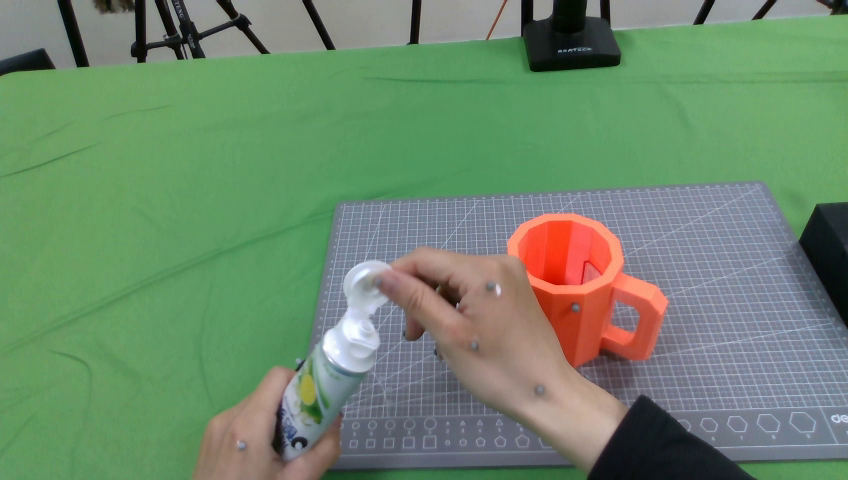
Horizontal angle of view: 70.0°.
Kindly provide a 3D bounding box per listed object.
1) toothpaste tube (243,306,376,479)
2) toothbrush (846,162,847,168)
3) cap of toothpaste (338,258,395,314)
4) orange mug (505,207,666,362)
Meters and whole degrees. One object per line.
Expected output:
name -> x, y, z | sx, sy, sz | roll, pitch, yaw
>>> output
toothpaste tube -> -0.079, 0.105, 0.396 | 0.035, 0.165, 0.054 | 10, 35, -42
toothbrush -> 0.385, -0.011, 0.494 | 0.014, 0.017, 0.180 | 4, 47, 5
cap of toothpaste -> -0.035, 0.028, 0.373 | 0.037, 0.037, 0.011 | -14, 27, -7
orange mug -> 0.123, 0.042, 0.480 | 0.125, 0.102, 0.083 | 19, 51, 29
